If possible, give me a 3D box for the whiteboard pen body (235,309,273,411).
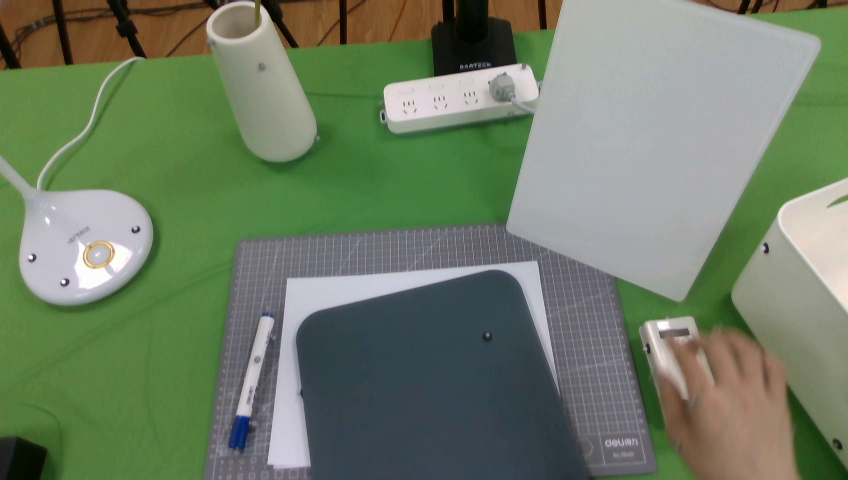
[{"bbox_3d":[-0.185,0.141,0.652,0.017,0.017,0.139,4,62,6],"label":"whiteboard pen body"}]

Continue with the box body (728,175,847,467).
[{"bbox_3d":[0.496,0.111,0.551,0.254,0.162,0.360,-20,60,-8],"label":"box body"}]

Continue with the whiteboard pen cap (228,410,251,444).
[{"bbox_3d":[-0.190,0.193,0.625,0.018,0.018,0.033,3,62,6],"label":"whiteboard pen cap"}]

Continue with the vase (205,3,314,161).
[{"bbox_3d":[-0.202,-0.188,0.748,0.098,0.202,0.097,-2,59,4],"label":"vase"}]

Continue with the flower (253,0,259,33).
[{"bbox_3d":[-0.186,-0.224,0.673,0.038,0.363,0.044,44,61,7],"label":"flower"}]

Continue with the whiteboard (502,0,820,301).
[{"bbox_3d":[0.239,-0.121,0.656,0.216,0.308,0.143,24,43,17],"label":"whiteboard"}]

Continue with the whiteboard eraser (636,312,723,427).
[{"bbox_3d":[0.261,0.132,0.623,0.055,0.042,0.111,-6,59,-1],"label":"whiteboard eraser"}]

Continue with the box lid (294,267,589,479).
[{"bbox_3d":[0.017,0.207,0.610,0.263,0.015,0.367,-13,60,-4],"label":"box lid"}]

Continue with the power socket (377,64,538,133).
[{"bbox_3d":[0.047,-0.195,0.834,0.227,0.033,0.071,-8,60,-2],"label":"power socket"}]

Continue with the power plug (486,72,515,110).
[{"bbox_3d":[0.100,-0.189,0.801,0.035,0.053,0.072,1,66,4],"label":"power plug"}]

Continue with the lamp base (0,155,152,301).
[{"bbox_3d":[-0.433,-0.042,0.686,0.178,0.182,0.160,25,64,21],"label":"lamp base"}]
